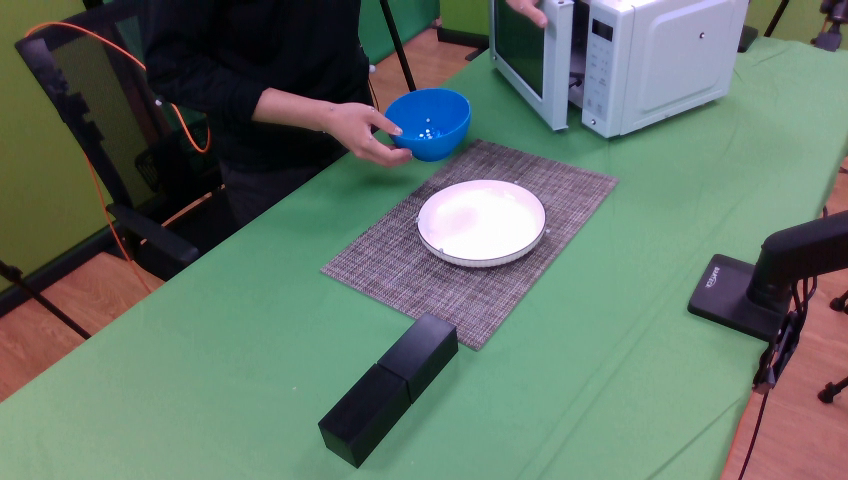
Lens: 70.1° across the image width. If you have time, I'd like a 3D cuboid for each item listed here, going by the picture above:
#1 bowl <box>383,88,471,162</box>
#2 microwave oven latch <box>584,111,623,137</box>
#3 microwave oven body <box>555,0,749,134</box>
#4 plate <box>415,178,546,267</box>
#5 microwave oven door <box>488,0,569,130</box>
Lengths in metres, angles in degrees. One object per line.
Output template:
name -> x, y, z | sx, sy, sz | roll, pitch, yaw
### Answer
bowl -> 0.010, -0.188, 1.043 | 0.151, 0.077, 0.150 | -5, 46, 6
microwave oven latch -> 0.337, -0.222, 1.142 | 0.030, 0.029, 0.078 | -21, 42, -14
microwave oven body -> 0.382, -0.444, 1.246 | 0.327, 0.261, 0.437 | -22, 42, -16
plate -> 0.091, -0.026, 0.970 | 0.207, 0.039, 0.206 | -4, 41, 4
microwave oven door -> 0.206, -0.412, 1.225 | 0.039, 0.245, 0.353 | -15, 41, -8
